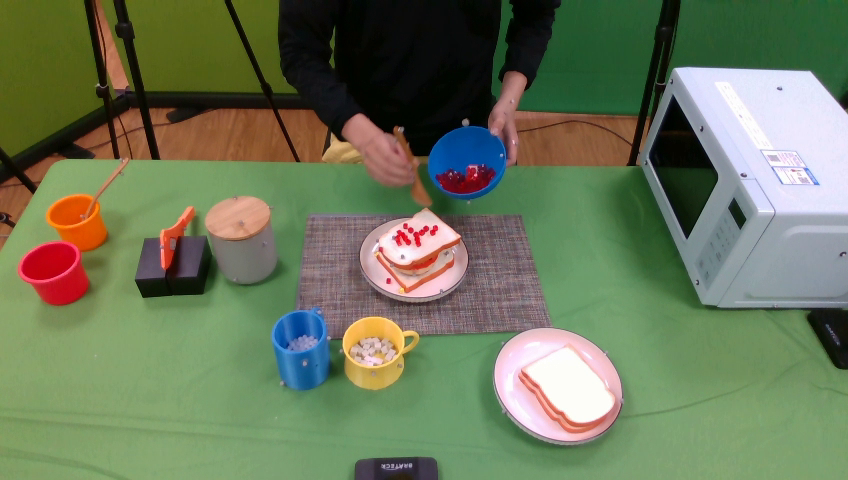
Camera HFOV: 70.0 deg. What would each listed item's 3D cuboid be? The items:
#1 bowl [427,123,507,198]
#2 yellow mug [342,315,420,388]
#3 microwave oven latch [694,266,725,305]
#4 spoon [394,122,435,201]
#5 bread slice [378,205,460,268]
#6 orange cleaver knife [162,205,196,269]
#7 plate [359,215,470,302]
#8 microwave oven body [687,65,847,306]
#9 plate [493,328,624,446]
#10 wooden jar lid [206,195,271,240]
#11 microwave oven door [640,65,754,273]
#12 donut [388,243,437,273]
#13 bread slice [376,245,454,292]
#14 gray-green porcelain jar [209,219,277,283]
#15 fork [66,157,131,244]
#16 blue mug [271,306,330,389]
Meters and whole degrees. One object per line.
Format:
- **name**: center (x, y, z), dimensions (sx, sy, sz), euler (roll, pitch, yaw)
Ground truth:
- **bowl**: center (0.089, -0.138, 1.153), dimensions (0.151, 0.077, 0.150), euler (-6, 65, 14)
- **yellow mug**: center (-0.068, 0.177, 0.990), dimensions (0.131, 0.064, 0.099), euler (-15, 50, -19)
- **microwave oven latch**: center (0.523, 0.082, 1.115), dimensions (0.030, 0.029, 0.078), euler (3, 46, 0)
- **spoon**: center (-0.017, -0.122, 0.972), dimensions (0.041, 0.195, 0.021), euler (26, 64, 30)
- **bread slice**: center (-0.014, -0.002, 1.097), dimensions (0.134, 0.018, 0.106), euler (-34, 51, -22)
- **orange cleaver knife**: center (-0.454, -0.010, 1.129), dimensions (0.012, 0.077, 0.210), euler (-2, 20, -5)
- **plate**: center (-0.019, 0.038, 1.140), dimensions (0.209, 0.038, 0.208), euler (2, 46, -2)
- **microwave oven body**: center (0.669, -0.111, 1.176), dimensions (0.326, 0.261, 0.439), euler (0, 46, -3)
- **plate**: center (0.213, 0.236, 0.974), dimensions (0.208, 0.039, 0.206), euler (2, 46, -2)
- **wooden jar lid**: center (-0.319, -0.036, 1.046), dimensions (0.108, 0.021, 0.107), euler (1, 44, 0)
- **microwave oven door**: center (0.523, -0.147, 1.193), dimensions (0.039, 0.245, 0.353), euler (0, 47, -3)
- **donut**: center (-0.023, 0.018, 1.120), dimensions (0.099, 0.048, 0.098), euler (-10, 48, 11)
- **bread slice**: center (-0.010, 0.033, 1.149), dimensions (0.131, 0.019, 0.104), euler (-27, 55, -26)
- **gray-green porcelain jar**: center (-0.323, 0.007, 1.092), dimensions (0.106, 0.127, 0.105), euler (2, 46, -2)
- **fork**: center (-0.608, -0.074, 1.132), dimensions (0.207, 0.019, 0.028), euler (-52, 48, 10)
- **blue mug**: center (-0.188, 0.163, 0.969), dimensions (0.082, 0.106, 0.116), euler (15, 47, 10)
